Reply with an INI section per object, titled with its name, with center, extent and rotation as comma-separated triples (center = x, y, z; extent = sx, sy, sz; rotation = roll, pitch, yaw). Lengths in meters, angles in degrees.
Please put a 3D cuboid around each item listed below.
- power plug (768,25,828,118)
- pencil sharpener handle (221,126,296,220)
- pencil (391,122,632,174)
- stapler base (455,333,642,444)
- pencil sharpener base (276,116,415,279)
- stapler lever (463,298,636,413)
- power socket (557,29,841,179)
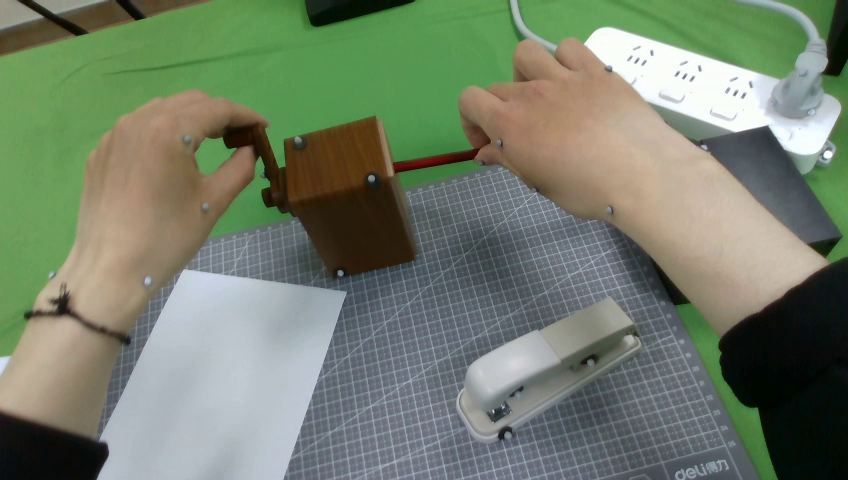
[power plug]
center = 0.296, -0.121, 0.466
extent = 0.072, 0.053, 0.035
rotation = -42, 60, -16
[pencil sharpener handle]
center = -0.112, -0.042, 0.412
extent = 0.030, 0.068, 0.035
rotation = -14, 22, 1
[pencil]
center = 0.049, -0.061, 0.420
extent = 0.194, 0.012, 0.012
rotation = -10, 56, -2
[stapler base]
center = 0.081, 0.085, 0.398
extent = 0.130, 0.024, 0.041
rotation = -28, 58, -10
[pencil sharpener base]
center = -0.055, -0.026, 0.441
extent = 0.077, 0.108, 0.060
rotation = -14, 56, 1
[stapler lever]
center = 0.078, 0.069, 0.378
extent = 0.118, 0.040, 0.026
rotation = -28, 58, -11
[power socket]
center = 0.223, -0.118, 0.504
extent = 0.225, 0.033, 0.072
rotation = 28, 65, 25
